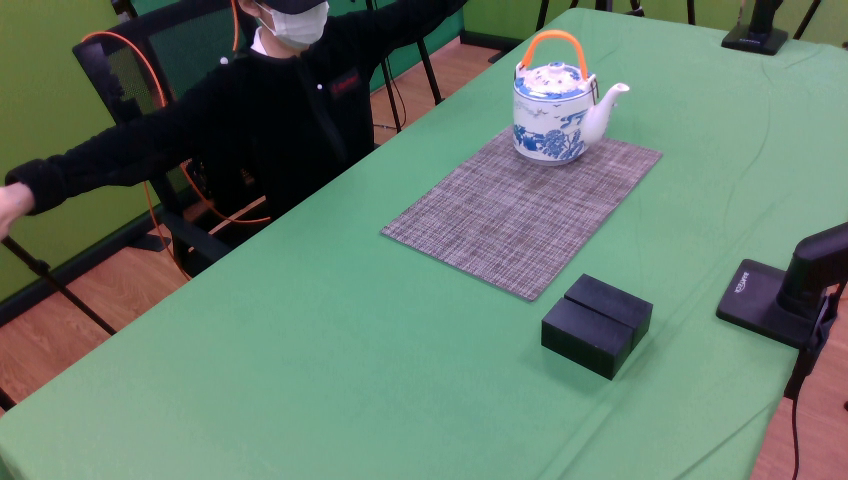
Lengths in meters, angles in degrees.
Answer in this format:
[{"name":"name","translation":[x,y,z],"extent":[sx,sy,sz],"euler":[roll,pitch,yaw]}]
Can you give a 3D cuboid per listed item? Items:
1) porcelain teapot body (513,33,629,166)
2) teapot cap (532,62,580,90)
[{"name":"porcelain teapot body","translation":[0.256,-0.248,1.065],"extent":[0.204,0.226,0.145],"euler":[18,47,28]},{"name":"teapot cap","translation":[0.230,-0.286,1.053],"extent":[0.085,0.044,0.085],"euler":[-4,39,4]}]
